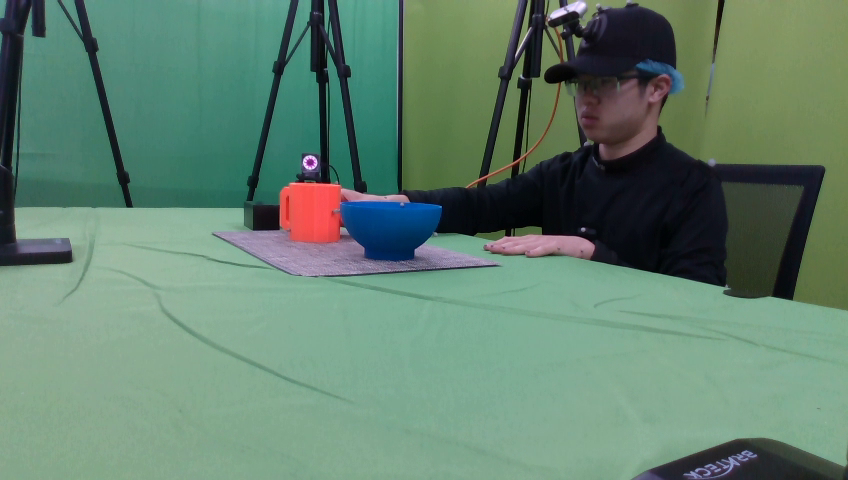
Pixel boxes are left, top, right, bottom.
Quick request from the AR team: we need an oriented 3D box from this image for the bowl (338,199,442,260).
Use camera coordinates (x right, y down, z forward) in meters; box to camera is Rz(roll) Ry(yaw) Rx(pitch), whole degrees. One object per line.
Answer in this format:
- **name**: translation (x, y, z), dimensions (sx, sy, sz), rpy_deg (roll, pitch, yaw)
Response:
- **bowl**: translation (-0.050, -0.015, 0.878), dimensions (0.151, 0.077, 0.151), rpy_deg (2, 8, 0)

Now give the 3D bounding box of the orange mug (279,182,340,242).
- **orange mug**: translation (-0.202, -0.053, 1.042), dimensions (0.125, 0.100, 0.084), rpy_deg (13, 12, 33)
